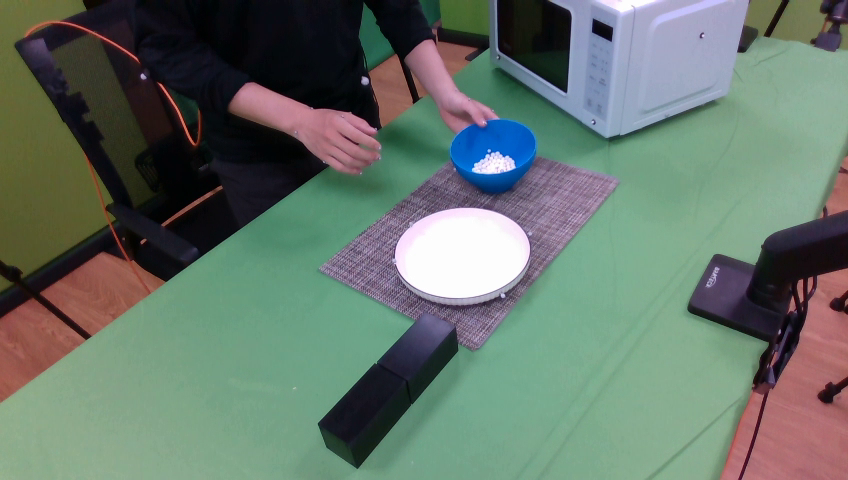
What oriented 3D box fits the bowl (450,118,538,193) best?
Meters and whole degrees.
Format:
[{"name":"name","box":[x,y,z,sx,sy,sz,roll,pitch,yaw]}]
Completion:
[{"name":"bowl","box":[0.124,-0.136,1.056,0.151,0.077,0.150,-5,47,6]}]

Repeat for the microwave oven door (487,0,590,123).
[{"name":"microwave oven door","box":[0.232,-0.420,1.230,0.039,0.245,0.352,-22,42,-16]}]

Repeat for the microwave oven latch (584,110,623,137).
[{"name":"microwave oven latch","box":[0.337,-0.222,1.142,0.030,0.029,0.078,-21,42,-15]}]

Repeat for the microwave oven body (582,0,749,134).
[{"name":"microwave oven body","box":[0.382,-0.444,1.246,0.327,0.261,0.437,-22,42,-16]}]

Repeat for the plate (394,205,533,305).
[{"name":"plate","box":[0.059,0.025,0.915,0.207,0.039,0.206,-4,41,4]}]
